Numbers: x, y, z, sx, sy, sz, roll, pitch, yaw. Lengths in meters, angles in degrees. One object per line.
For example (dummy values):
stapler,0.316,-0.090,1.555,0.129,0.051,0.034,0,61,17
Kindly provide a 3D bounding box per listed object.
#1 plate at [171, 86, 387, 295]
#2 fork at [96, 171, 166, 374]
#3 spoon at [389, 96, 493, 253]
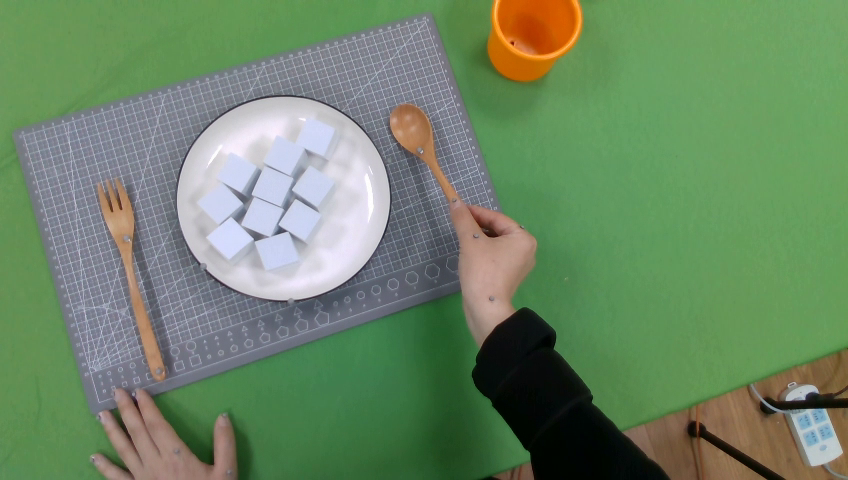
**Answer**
plate,-0.142,-0.048,0.609,0.208,0.039,0.207,1,84,-5
fork,-0.286,0.031,0.597,0.028,0.018,0.206,-16,83,-12
spoon,0.016,-0.068,0.610,0.041,0.022,0.192,-34,68,15
